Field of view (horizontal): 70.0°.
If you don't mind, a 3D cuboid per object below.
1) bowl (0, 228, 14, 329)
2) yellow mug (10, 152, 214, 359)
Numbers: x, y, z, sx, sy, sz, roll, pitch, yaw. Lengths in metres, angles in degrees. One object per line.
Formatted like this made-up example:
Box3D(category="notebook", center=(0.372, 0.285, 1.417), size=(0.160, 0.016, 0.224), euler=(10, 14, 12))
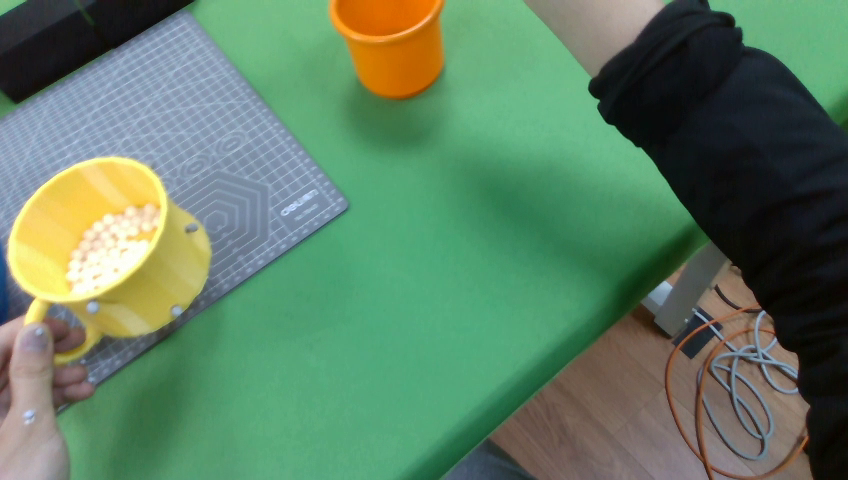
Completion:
Box3D(category="bowl", center=(-0.359, 0.038, 0.434), size=(0.151, 0.077, 0.150), euler=(-3, 63, 6))
Box3D(category="yellow mug", center=(-0.204, 0.015, 0.389), size=(0.099, 0.064, 0.130), euler=(17, 68, 14))
